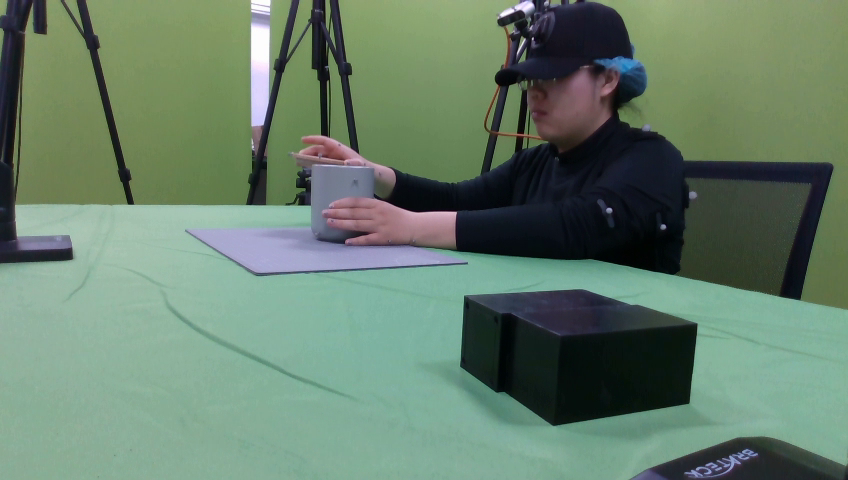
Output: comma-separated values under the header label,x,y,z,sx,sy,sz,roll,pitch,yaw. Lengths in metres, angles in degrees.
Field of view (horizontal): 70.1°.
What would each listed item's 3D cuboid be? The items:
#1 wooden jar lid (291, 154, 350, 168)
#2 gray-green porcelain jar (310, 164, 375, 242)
label,x,y,z,sx,sy,sz,roll,pitch,yaw
wooden jar lid,-0.195,-0.144,1.137,0.108,0.020,0.108,8,8,-1
gray-green porcelain jar,-0.139,-0.063,1.025,0.106,0.126,0.106,3,8,0
